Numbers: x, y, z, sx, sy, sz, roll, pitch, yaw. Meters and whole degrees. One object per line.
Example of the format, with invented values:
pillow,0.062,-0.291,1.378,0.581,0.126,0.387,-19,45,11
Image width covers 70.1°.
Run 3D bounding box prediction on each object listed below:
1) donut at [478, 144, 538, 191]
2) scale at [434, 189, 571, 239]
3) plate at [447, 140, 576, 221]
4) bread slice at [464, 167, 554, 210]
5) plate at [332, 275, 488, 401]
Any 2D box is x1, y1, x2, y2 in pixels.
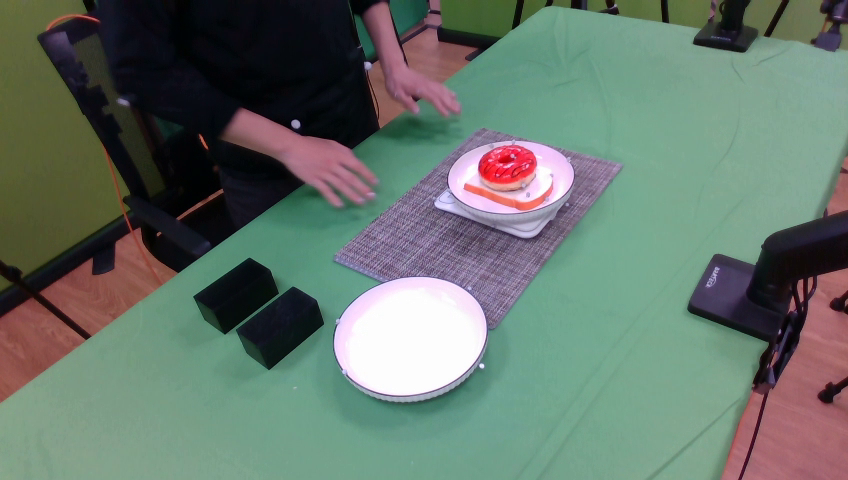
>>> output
donut,0.135,-0.119,0.983,0.099,0.048,0.098,-7,41,7
scale,0.132,-0.075,1.025,0.199,0.032,0.149,22,48,30
plate,0.143,-0.094,0.995,0.209,0.038,0.208,-4,41,4
bread slice,0.149,-0.095,0.998,0.130,0.019,0.105,25,52,32
plate,-0.017,0.130,0.808,0.207,0.039,0.206,-4,41,4
